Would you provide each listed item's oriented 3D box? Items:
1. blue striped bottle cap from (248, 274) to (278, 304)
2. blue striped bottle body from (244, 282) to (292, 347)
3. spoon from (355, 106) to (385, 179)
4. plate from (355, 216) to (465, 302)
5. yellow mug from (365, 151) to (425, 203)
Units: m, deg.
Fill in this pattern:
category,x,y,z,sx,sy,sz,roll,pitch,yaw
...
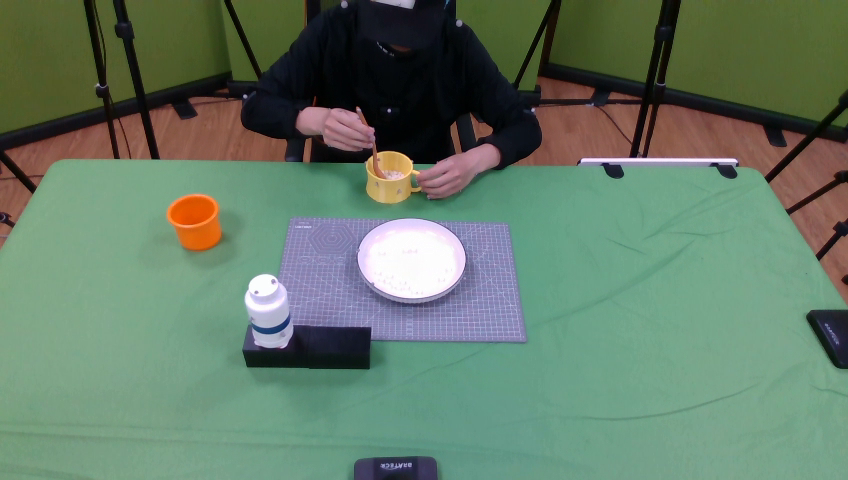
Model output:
category,x,y,z,sx,sy,sz,roll,pitch,yaw
blue striped bottle cap,-0.239,0.072,0.900,0.044,0.021,0.044,4,46,-4
blue striped bottle body,-0.241,0.108,0.937,0.063,0.121,0.062,2,46,-2
spoon,-0.108,-0.192,1.231,0.021,0.195,0.041,-17,45,-4
plate,-0.027,0.039,1.144,0.208,0.039,0.206,2,46,-2
yellow mug,-0.061,-0.133,1.291,0.131,0.064,0.099,9,46,3
